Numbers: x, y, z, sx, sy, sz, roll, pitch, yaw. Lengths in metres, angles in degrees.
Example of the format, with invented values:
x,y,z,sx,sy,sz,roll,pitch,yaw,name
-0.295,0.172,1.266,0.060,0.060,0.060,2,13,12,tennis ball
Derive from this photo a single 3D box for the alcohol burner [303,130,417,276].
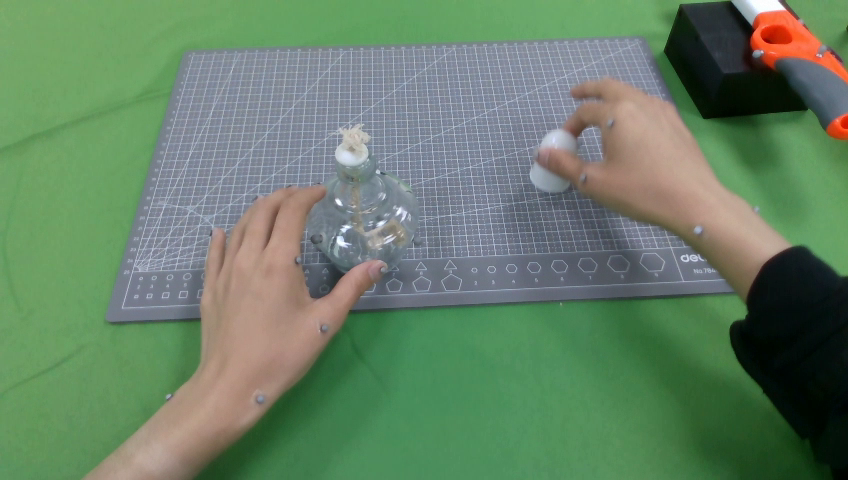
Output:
x,y,z,sx,sy,sz,roll,pitch,yaw,name
-0.044,-0.029,0.401,0.078,0.120,0.077,0,55,1,alcohol burner

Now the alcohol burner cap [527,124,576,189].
x,y,z,sx,sy,sz,roll,pitch,yaw,name
0.097,-0.066,0.454,0.034,0.048,0.033,1,51,-1,alcohol burner cap

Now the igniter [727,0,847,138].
x,y,z,sx,sy,sz,roll,pitch,yaw,name
0.296,-0.183,0.517,0.057,0.025,0.273,-7,52,-2,igniter
